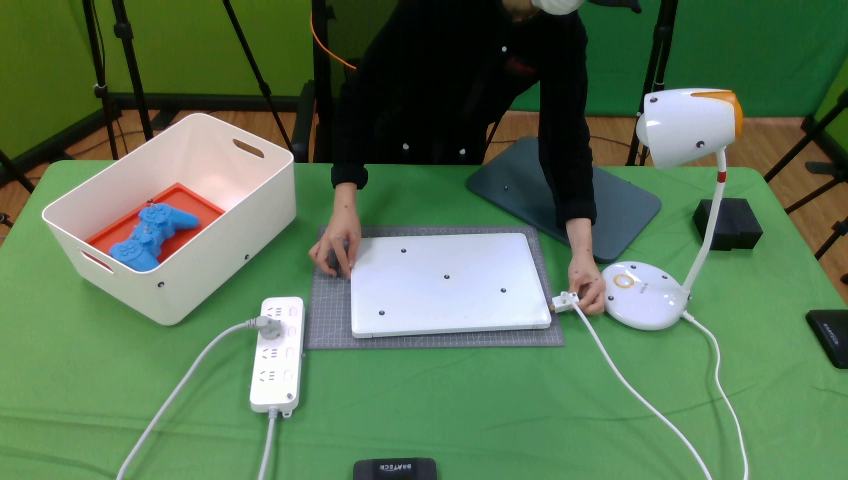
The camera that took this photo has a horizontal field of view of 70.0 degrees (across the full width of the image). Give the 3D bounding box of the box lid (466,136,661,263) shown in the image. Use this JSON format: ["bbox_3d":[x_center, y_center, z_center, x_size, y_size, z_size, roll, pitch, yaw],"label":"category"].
[{"bbox_3d":[0.306,-0.102,1.327,0.370,0.015,0.263,32,52,25],"label":"box lid"}]

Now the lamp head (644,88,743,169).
[{"bbox_3d":[0.380,-0.161,0.851,0.122,0.113,0.112,-4,42,25],"label":"lamp head"}]

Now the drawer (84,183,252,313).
[{"bbox_3d":[-0.457,0.008,1.099,0.194,0.073,0.211,29,49,21],"label":"drawer"}]

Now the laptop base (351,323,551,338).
[{"bbox_3d":[0.040,0.081,1.126,0.355,0.023,0.234,-2,43,-6],"label":"laptop base"}]

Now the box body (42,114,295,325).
[{"bbox_3d":[-0.437,-0.046,1.110,0.253,0.161,0.363,24,49,19],"label":"box body"}]

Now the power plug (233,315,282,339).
[{"bbox_3d":[-0.271,0.144,0.999,0.072,0.053,0.035,6,47,3],"label":"power plug"}]

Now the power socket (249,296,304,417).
[{"bbox_3d":[-0.239,0.182,0.996,0.072,0.033,0.225,-2,47,-5],"label":"power socket"}]

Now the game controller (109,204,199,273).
[{"bbox_3d":[-0.467,-0.005,1.044,0.097,0.052,0.154,8,45,10],"label":"game controller"}]

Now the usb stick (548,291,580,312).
[{"bbox_3d":[0.247,0.113,1.085,0.059,0.027,0.021,-18,62,4],"label":"usb stick"}]

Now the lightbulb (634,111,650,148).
[{"bbox_3d":[0.348,-0.163,0.852,0.059,0.060,0.107,-36,19,-32],"label":"lightbulb"}]

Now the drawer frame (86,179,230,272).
[{"bbox_3d":[-0.453,0.010,1.100,0.201,0.083,0.213,28,54,23],"label":"drawer frame"}]

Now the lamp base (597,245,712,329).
[{"bbox_3d":[0.418,0.051,1.071,0.179,0.181,0.160,22,49,13],"label":"lamp base"}]

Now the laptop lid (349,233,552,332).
[{"bbox_3d":[0.040,0.070,1.119,0.357,0.013,0.240,-1,44,-5],"label":"laptop lid"}]
